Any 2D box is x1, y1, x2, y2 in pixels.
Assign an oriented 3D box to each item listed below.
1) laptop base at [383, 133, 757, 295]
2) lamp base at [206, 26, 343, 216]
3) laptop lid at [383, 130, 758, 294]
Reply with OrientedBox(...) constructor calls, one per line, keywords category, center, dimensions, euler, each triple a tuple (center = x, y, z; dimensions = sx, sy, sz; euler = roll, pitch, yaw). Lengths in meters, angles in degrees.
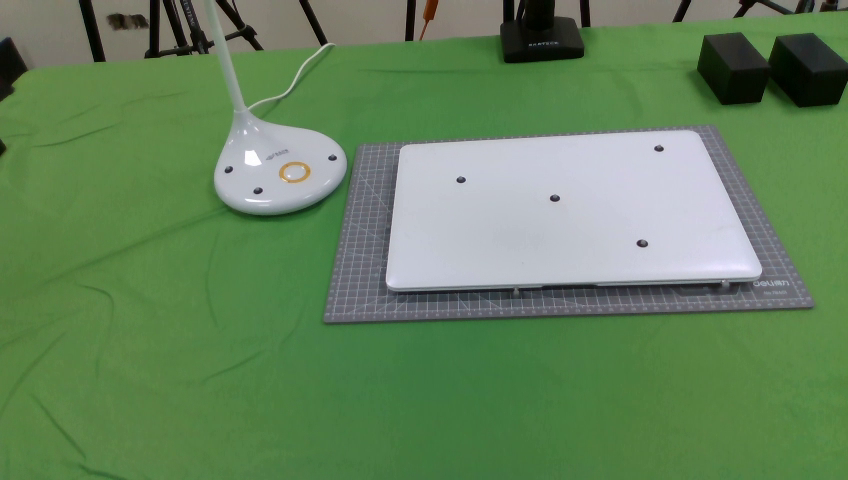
OrientedBox(category="laptop base", center=(0.138, -0.033, 0.655), dimensions=(0.354, 0.023, 0.233), euler=(-2, 46, 4))
OrientedBox(category="lamp base", center=(-0.195, -0.145, 0.695), dimensions=(0.177, 0.182, 0.160), euler=(27, 52, 33))
OrientedBox(category="laptop lid", center=(0.137, -0.040, 0.645), dimensions=(0.356, 0.013, 0.239), euler=(-1, 45, 6))
